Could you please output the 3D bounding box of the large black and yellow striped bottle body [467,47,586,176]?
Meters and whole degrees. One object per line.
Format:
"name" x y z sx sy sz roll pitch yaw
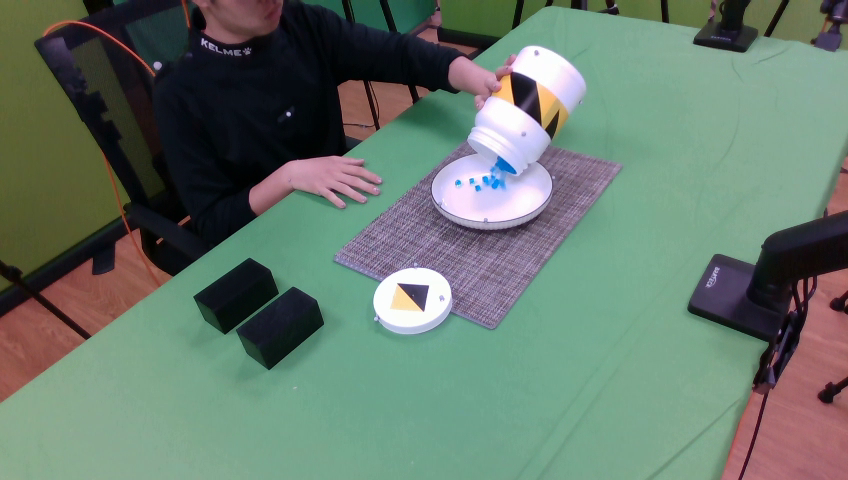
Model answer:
"large black and yellow striped bottle body" 0.168 -0.212 1.016 0.129 0.132 0.184 36 91 39

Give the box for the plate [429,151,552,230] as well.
"plate" 0.113 -0.082 1.032 0.207 0.039 0.206 -4 41 4

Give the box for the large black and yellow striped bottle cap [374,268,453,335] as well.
"large black and yellow striped bottle cap" -0.015 0.087 0.871 0.115 0.019 0.114 -6 43 6
